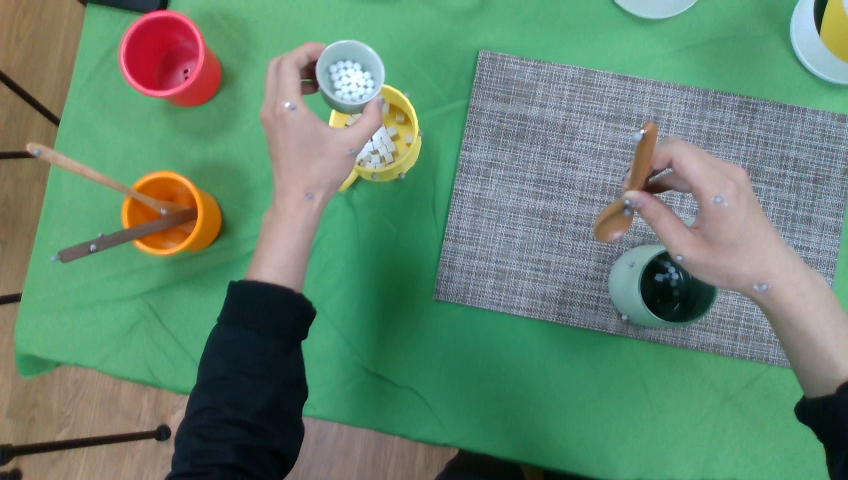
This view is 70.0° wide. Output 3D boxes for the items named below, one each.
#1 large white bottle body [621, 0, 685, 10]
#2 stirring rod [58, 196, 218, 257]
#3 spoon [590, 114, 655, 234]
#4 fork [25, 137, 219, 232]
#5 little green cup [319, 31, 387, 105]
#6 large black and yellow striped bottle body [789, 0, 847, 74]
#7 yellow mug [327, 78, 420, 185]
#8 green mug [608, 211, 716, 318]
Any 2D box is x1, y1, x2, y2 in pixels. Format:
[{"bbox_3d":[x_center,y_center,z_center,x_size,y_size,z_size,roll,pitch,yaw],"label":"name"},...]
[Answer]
[{"bbox_3d":[0.265,-0.339,0.630,0.130,0.185,0.130,0,87,3],"label":"large white bottle body"},{"bbox_3d":[-0.307,-0.018,0.665,0.176,0.006,0.014,-27,87,-41],"label":"stirring rod"},{"bbox_3d":[0.158,-0.045,0.472,0.041,0.195,0.021,-25,72,-1],"label":"spoon"},{"bbox_3d":[-0.321,-0.058,0.661,0.209,0.018,0.028,30,85,-40],"label":"fork"},{"bbox_3d":[-0.067,-0.157,0.562,0.062,0.038,0.061,1,83,-11],"label":"little green cup"},{"bbox_3d":[0.486,-0.260,0.619,0.131,0.184,0.130,0,87,3],"label":"large black and yellow striped bottle body"},{"bbox_3d":[-0.065,-0.116,0.695,0.100,0.064,0.131,36,90,3],"label":"yellow mug"},{"bbox_3d":[0.262,0.025,0.654,0.092,0.105,0.125,27,89,4],"label":"green mug"}]
